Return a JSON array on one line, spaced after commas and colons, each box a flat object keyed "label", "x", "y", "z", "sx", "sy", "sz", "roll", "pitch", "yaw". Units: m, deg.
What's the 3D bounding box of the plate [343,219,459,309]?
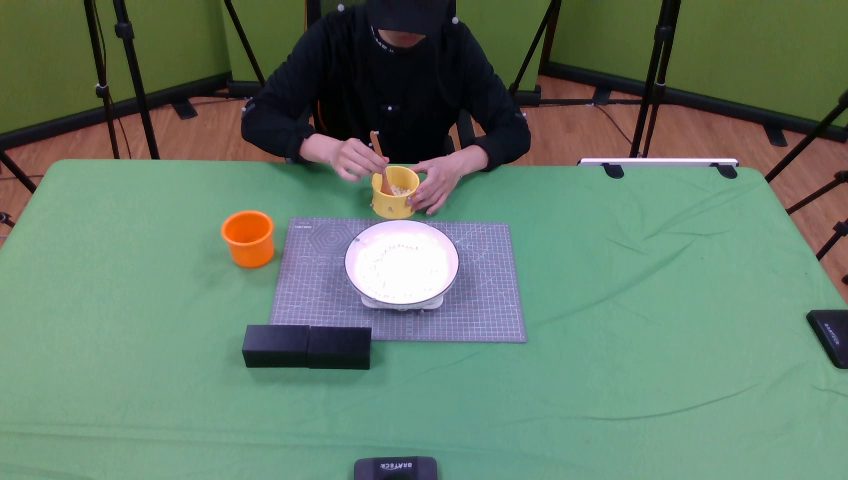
[{"label": "plate", "x": -0.041, "y": 0.046, "z": 1.094, "sx": 0.209, "sy": 0.038, "sz": 0.208, "roll": 2, "pitch": 46, "yaw": -2}]

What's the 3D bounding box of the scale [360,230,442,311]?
[{"label": "scale", "x": -0.042, "y": 0.047, "z": 1.138, "sx": 0.149, "sy": 0.032, "sz": 0.199, "roll": 2, "pitch": 46, "yaw": -3}]

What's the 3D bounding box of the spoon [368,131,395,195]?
[{"label": "spoon", "x": -0.083, "y": -0.137, "z": 1.198, "sx": 0.041, "sy": 0.195, "sz": 0.021, "roll": 16, "pitch": 49, "yaw": 28}]

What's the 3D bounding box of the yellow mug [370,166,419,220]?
[{"label": "yellow mug", "x": -0.072, "y": -0.108, "z": 1.268, "sx": 0.100, "sy": 0.064, "sz": 0.130, "roll": -30, "pitch": 53, "yaw": -30}]
